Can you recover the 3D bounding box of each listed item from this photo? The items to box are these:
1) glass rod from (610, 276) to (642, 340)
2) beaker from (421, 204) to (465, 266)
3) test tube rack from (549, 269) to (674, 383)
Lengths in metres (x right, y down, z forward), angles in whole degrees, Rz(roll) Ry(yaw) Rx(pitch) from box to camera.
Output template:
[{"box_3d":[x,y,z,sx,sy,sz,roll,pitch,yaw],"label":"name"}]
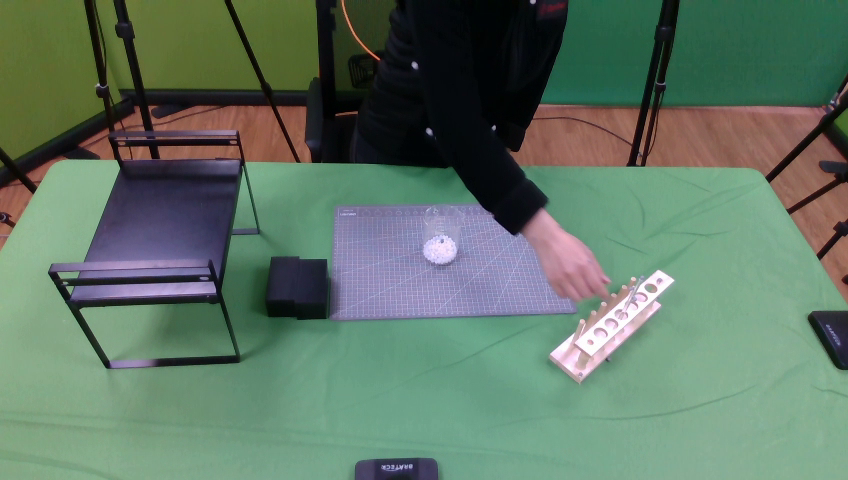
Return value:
[{"box_3d":[0.323,0.114,0.976,0.008,0.201,0.008,-1,54,1],"label":"glass rod"},{"box_3d":[0.034,-0.007,1.151,0.084,0.101,0.073,-10,48,-13],"label":"beaker"},{"box_3d":[0.326,0.135,1.047,0.242,0.085,0.066,-32,55,-30],"label":"test tube rack"}]
